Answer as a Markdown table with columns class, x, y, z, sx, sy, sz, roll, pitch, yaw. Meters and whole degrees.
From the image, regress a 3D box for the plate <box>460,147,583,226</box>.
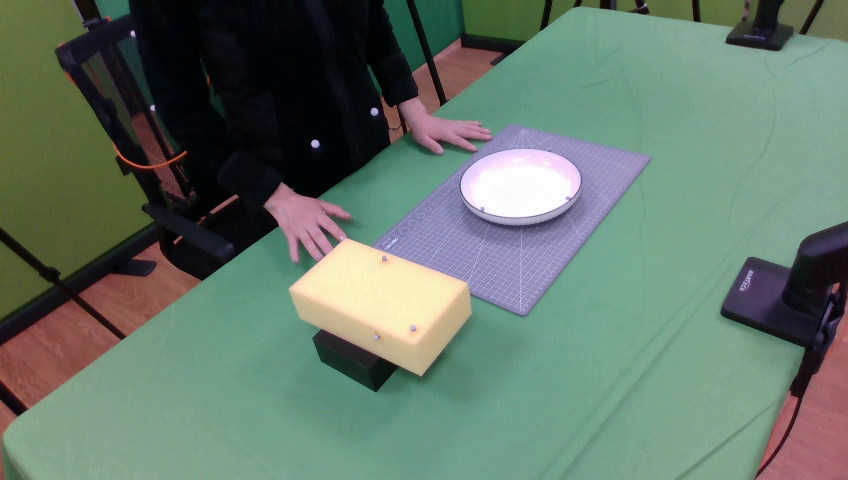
| class | x | y | z | sx | sy | sz | roll | pitch | yaw |
| --- | --- | --- | --- | --- | --- | --- | --- | --- | --- |
| plate | 0.166 | -0.089 | 1.043 | 0.209 | 0.038 | 0.208 | -5 | 40 | 5 |

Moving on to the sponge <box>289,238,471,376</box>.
| class | x | y | z | sx | sy | sz | roll | pitch | yaw |
| --- | --- | --- | --- | --- | --- | --- | --- | --- | --- |
| sponge | -0.058 | 0.081 | 0.794 | 0.205 | 0.061 | 0.118 | 19 | 47 | 29 |
